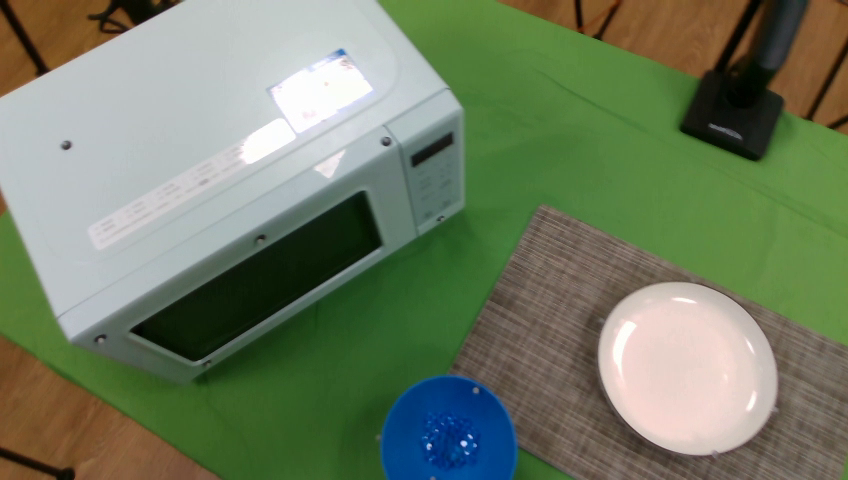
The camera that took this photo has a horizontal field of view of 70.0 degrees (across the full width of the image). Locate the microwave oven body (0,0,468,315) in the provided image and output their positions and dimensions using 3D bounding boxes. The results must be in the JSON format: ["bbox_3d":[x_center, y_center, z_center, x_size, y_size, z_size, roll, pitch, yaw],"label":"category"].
[{"bbox_3d":[-0.214,-0.104,0.740,0.442,0.262,0.323,-32,71,-8],"label":"microwave oven body"}]

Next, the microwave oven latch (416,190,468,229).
[{"bbox_3d":[0.022,-0.048,0.809,0.079,0.030,0.030,-31,70,-8],"label":"microwave oven latch"}]

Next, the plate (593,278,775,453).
[{"bbox_3d":[0.307,0.150,0.730,0.207,0.039,0.206,-1,68,3],"label":"plate"}]

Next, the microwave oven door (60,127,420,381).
[{"bbox_3d":[-0.170,0.028,0.680,0.356,0.245,0.039,-32,69,-9],"label":"microwave oven door"}]

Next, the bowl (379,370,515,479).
[{"bbox_3d":[0.027,0.232,0.697,0.151,0.077,0.150,-1,68,3],"label":"bowl"}]
